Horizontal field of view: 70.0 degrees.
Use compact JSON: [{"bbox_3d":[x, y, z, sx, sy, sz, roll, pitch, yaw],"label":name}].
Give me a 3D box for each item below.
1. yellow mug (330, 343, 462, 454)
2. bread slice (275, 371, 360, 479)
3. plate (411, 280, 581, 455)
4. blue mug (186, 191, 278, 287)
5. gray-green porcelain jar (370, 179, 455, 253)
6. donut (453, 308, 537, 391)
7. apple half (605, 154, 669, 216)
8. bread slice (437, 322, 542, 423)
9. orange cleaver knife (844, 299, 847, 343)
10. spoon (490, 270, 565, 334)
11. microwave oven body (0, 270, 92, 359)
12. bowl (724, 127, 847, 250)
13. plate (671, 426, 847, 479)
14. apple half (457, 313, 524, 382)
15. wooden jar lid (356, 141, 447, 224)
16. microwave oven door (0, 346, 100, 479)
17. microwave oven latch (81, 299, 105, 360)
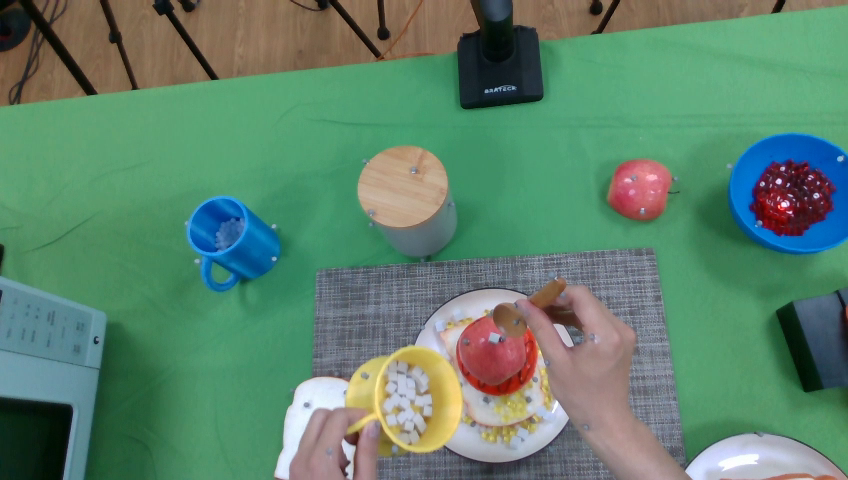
[{"bbox_3d":[-0.032,0.161,0.589,0.131,0.064,0.099,-17,81,-37],"label":"yellow mug"},{"bbox_3d":[-0.129,0.231,0.761,0.105,0.019,0.131,4,75,9],"label":"bread slice"},{"bbox_3d":[0.084,0.154,0.741,0.207,0.039,0.206,-3,72,8],"label":"plate"},{"bbox_3d":[-0.260,0.007,0.809,0.082,0.106,0.116,16,75,14],"label":"blue mug"},{"bbox_3d":[-0.015,-0.046,0.778,0.106,0.127,0.105,-3,71,8],"label":"gray-green porcelain jar"},{"bbox_3d":[0.084,0.129,0.719,0.099,0.048,0.098,-3,72,9],"label":"donut"},{"bbox_3d":[0.276,-0.078,0.781,0.074,0.054,0.080,17,76,17],"label":"apple half"},{"bbox_3d":[0.088,0.155,0.749,0.107,0.018,0.133,-20,64,-1],"label":"bread slice"},{"bbox_3d":[0.493,0.167,0.652,0.012,0.077,0.211,-14,92,-2],"label":"orange cleaver knife"},{"bbox_3d":[0.094,0.060,0.557,0.021,0.194,0.041,-41,81,-14],"label":"spoon"},{"bbox_3d":[-0.613,0.269,0.694,0.326,0.262,0.439,-4,72,8],"label":"microwave oven body"},{"bbox_3d":[0.435,-0.051,0.733,0.151,0.077,0.150,-3,72,9],"label":"bowl"},{"bbox_3d":[0.365,0.307,0.650,0.209,0.038,0.208,-3,72,9],"label":"plate"},{"bbox_3d":[0.075,0.118,0.684,0.081,0.033,0.080,-6,66,14],"label":"apple half"},{"bbox_3d":[-0.026,-0.066,0.718,0.108,0.021,0.107,-2,70,6],"label":"wooden jar lid"},{"bbox_3d":[-0.469,0.298,0.657,0.039,0.245,0.353,-4,71,8],"label":"microwave oven door"},{"bbox_3d":[-0.455,0.121,0.819,0.030,0.030,0.078,0,73,9],"label":"microwave oven latch"}]
